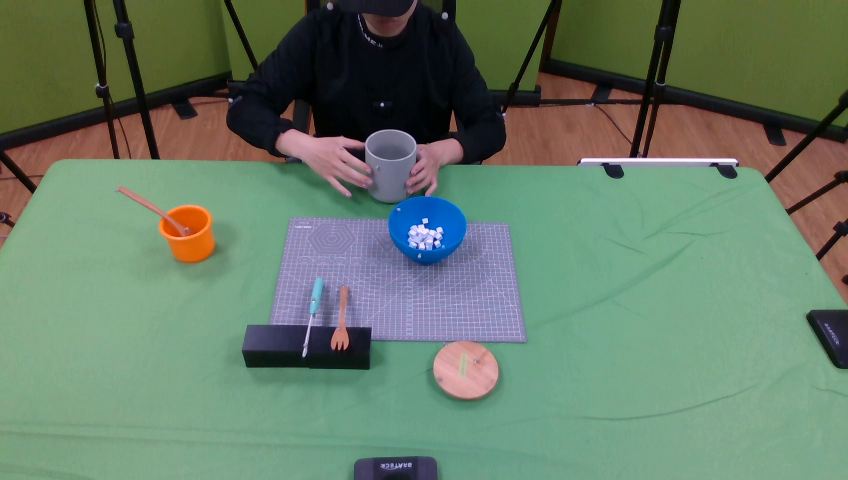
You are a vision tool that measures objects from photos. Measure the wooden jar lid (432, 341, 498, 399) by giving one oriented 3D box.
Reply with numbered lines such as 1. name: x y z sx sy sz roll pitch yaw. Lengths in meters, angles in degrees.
1. wooden jar lid: 0.067 0.216 0.997 0.108 0.021 0.107 1 46 -1

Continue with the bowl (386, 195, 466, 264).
1. bowl: 0.002 -0.007 1.162 0.151 0.077 0.150 2 46 -2

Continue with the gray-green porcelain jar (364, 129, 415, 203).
1. gray-green porcelain jar: -0.072 -0.150 1.264 0.106 0.127 0.105 2 46 -2

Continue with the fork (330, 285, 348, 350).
1. fork: -0.140 0.127 1.021 0.028 0.019 0.206 -5 28 -2

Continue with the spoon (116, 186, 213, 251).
1. spoon: -0.474 -0.040 1.112 0.021 0.195 0.041 -31 31 29

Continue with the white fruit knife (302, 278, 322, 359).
1. white fruit knife: -0.189 0.126 1.020 0.016 0.027 0.206 0 33 -2
